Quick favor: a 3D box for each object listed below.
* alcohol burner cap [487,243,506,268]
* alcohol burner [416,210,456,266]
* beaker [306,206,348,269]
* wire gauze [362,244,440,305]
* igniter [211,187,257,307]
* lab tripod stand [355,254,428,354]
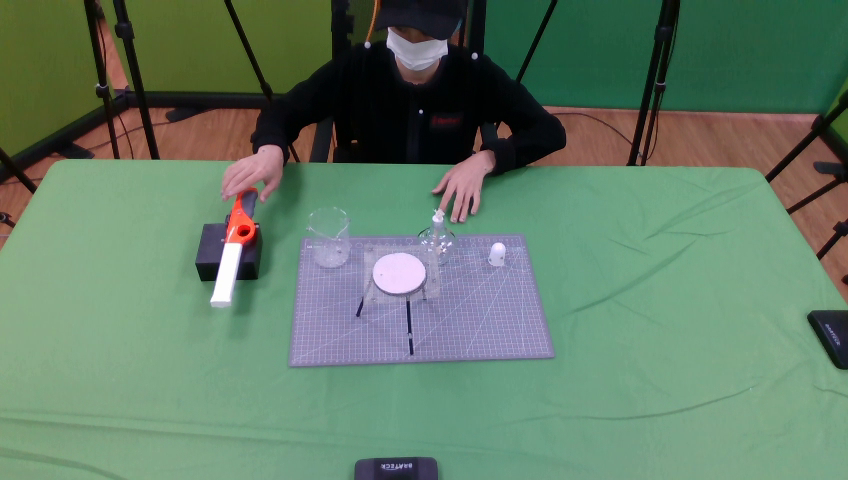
[{"bbox_3d":[0.141,0.027,1.166,0.034,0.048,0.033,2,45,-2],"label":"alcohol burner cap"},{"bbox_3d":[0.023,-0.009,1.141,0.078,0.120,0.077,2,44,-2],"label":"alcohol burner"},{"bbox_3d":[-0.176,0.001,1.126,0.074,0.101,0.083,-14,49,-16],"label":"beaker"},{"bbox_3d":[-0.038,0.051,0.971,0.121,0.011,0.124,-1,46,-4],"label":"wire gauze"},{"bbox_3d":[-0.343,0.003,1.100,0.057,0.025,0.274,2,49,-4],"label":"igniter"},{"bbox_3d":[-0.046,0.100,1.017,0.148,0.132,0.147,1,47,-1],"label":"lab tripod stand"}]
